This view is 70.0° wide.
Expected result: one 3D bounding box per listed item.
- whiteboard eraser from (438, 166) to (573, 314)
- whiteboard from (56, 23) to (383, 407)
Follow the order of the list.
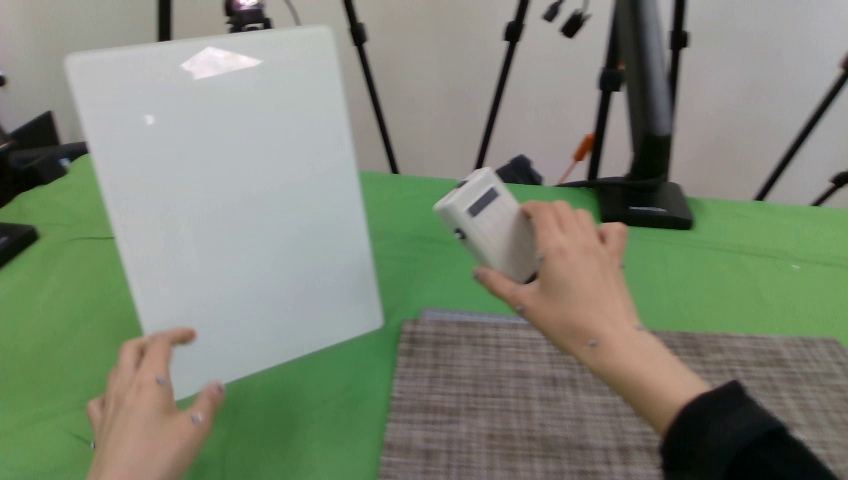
[{"bbox_3d":[0.065,0.000,0.482,0.055,0.113,0.042,-42,8,-23],"label":"whiteboard eraser"},{"bbox_3d":[-0.190,-0.036,0.600,0.218,0.307,0.142,-17,18,-24],"label":"whiteboard"}]
